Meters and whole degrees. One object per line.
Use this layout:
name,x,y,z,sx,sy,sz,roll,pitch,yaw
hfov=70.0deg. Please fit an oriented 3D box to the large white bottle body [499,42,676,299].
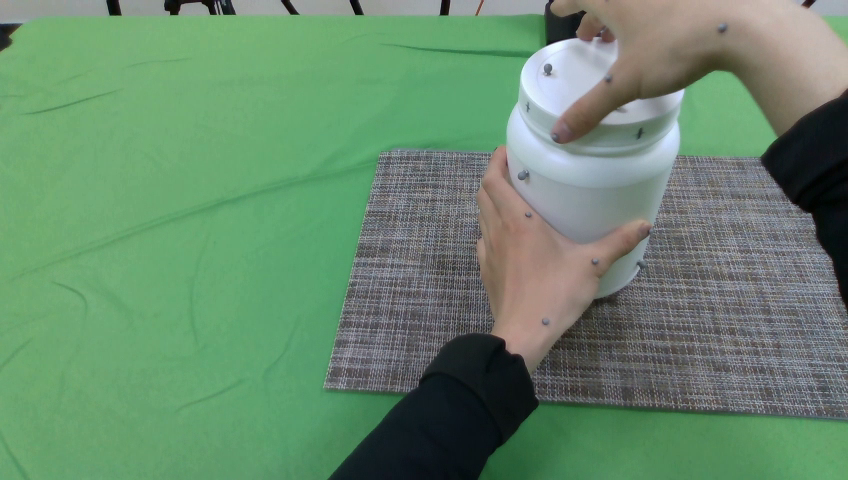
large white bottle body,0.129,-0.054,0.502,0.130,0.186,0.129,-2,48,2

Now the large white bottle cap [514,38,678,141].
large white bottle cap,0.124,-0.112,0.439,0.115,0.018,0.113,-2,46,2
